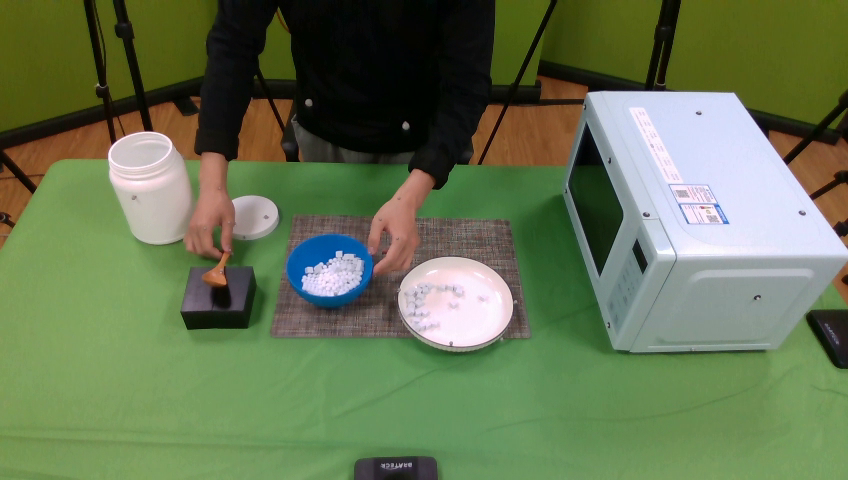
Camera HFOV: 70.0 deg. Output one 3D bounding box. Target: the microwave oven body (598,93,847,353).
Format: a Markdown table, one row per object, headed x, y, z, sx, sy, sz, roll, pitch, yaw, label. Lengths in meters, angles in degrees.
| x | y | z | sx | sy | sz | roll | pitch | yaw | label |
| --- | --- | --- | --- | --- | --- | --- | --- | --- | --- |
| 0.475 | -0.041 | 1.109 | 0.326 | 0.261 | 0.438 | -1 | 45 | -4 | microwave oven body |

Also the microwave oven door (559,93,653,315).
| x | y | z | sx | sy | sz | roll | pitch | yaw | label |
| --- | --- | --- | --- | --- | --- | --- | --- | --- | --- |
| 0.327 | -0.074 | 1.123 | 0.039 | 0.245 | 0.353 | -1 | 46 | -5 | microwave oven door |

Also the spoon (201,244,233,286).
| x | y | z | sx | sy | sz | roll | pitch | yaw | label |
| --- | --- | --- | --- | --- | --- | --- | --- | --- | --- |
| -0.361 | 0.041 | 1.085 | 0.042 | 0.022 | 0.193 | 11 | 21 | -11 | spoon |

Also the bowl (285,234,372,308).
| x | y | z | sx | sy | sz | roll | pitch | yaw | label |
| --- | --- | --- | --- | --- | --- | --- | --- | --- | --- |
| -0.167 | 0.068 | 1.077 | 0.151 | 0.077 | 0.150 | 3 | 45 | -3 | bowl |

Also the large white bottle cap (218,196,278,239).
| x | y | z | sx | sy | sz | roll | pitch | yaw | label |
| --- | --- | --- | --- | --- | --- | --- | --- | --- | --- |
| -0.354 | -0.046 | 1.220 | 0.115 | 0.018 | 0.114 | 3 | 44 | -3 | large white bottle cap |

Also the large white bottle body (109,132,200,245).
| x | y | z | sx | sy | sz | roll | pitch | yaw | label |
| --- | --- | --- | --- | --- | --- | --- | --- | --- | --- |
| -0.506 | -0.097 | 1.141 | 0.131 | 0.185 | 0.130 | 2 | 46 | -2 | large white bottle body |

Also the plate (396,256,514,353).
| x | y | z | sx | sy | sz | roll | pitch | yaw | label |
| --- | --- | --- | --- | --- | --- | --- | --- | --- | --- |
| 0.053 | 0.116 | 1.077 | 0.209 | 0.038 | 0.208 | 2 | 46 | -2 | plate |

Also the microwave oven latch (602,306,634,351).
| x | y | z | sx | sy | sz | roll | pitch | yaw | label |
| --- | --- | --- | --- | --- | --- | --- | --- | --- | --- |
| 0.332 | 0.153 | 1.044 | 0.030 | 0.029 | 0.078 | 0 | 45 | -4 | microwave oven latch |
